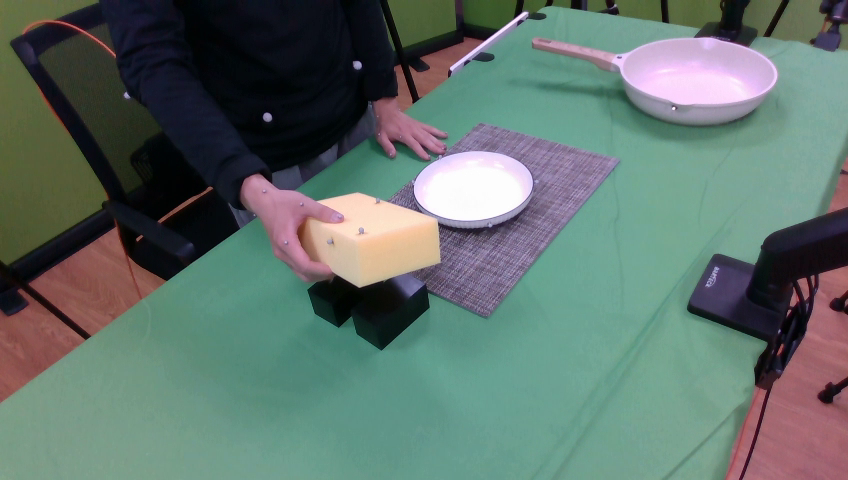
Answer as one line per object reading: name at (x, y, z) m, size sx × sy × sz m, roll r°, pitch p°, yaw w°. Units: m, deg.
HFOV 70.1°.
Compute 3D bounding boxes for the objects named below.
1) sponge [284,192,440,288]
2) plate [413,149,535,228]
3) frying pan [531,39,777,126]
sponge at (-0.087, -0.007, 0.797) m, size 0.119 × 0.061 × 0.205 m, roll -17°, pitch 22°, yaw -32°
plate at (0.086, -0.085, 1.038) m, size 0.207 × 0.039 × 0.206 m, roll -4°, pitch 40°, yaw 4°
frying pan at (0.452, -0.354, 1.254) m, size 0.485 × 0.103 × 0.307 m, roll 22°, pitch 47°, yaw 19°
